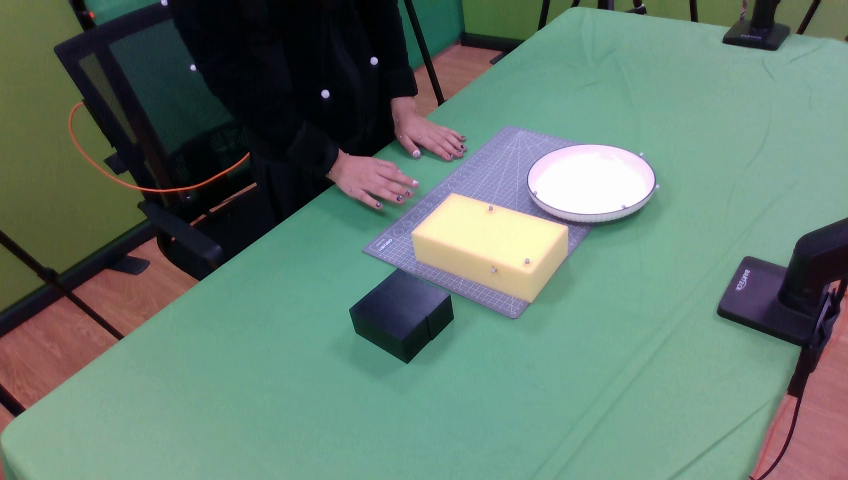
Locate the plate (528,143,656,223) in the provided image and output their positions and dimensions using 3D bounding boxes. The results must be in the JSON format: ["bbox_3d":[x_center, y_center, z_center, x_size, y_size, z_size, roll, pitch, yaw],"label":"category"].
[{"bbox_3d":[0.281,-0.093,1.023,0.209,0.038,0.208,-5,40,5],"label":"plate"}]

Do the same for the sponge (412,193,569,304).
[{"bbox_3d":[0.101,0.007,0.922,0.205,0.061,0.118,19,48,29],"label":"sponge"}]
